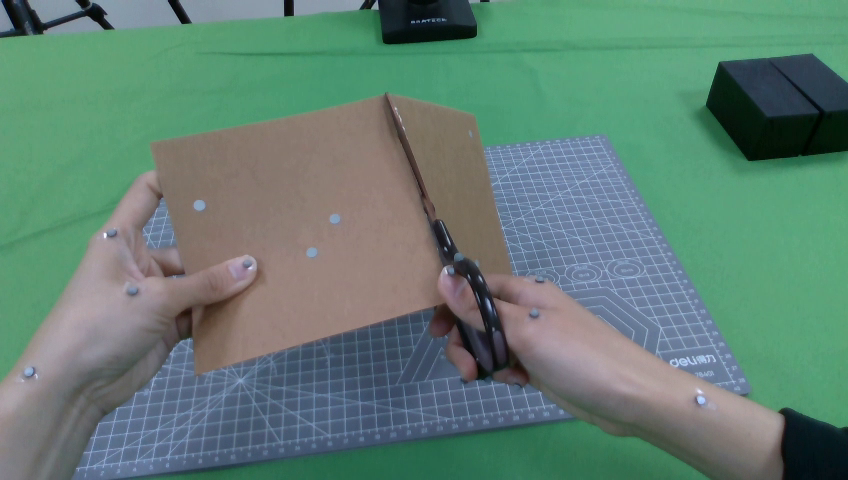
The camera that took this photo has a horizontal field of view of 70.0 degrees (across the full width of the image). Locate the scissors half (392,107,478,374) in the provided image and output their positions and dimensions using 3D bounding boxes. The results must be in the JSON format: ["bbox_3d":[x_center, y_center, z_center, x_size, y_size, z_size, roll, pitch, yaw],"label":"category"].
[{"bbox_3d":[0.001,-0.010,0.335,0.013,0.040,0.173,-18,58,5],"label":"scissors half"}]

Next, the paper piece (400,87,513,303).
[{"bbox_3d":[0.026,-0.028,0.415,0.008,0.136,0.138,-9,1,26],"label":"paper piece"}]

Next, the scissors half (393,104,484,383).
[{"bbox_3d":[0.004,-0.002,0.354,0.013,0.040,0.174,-16,78,0],"label":"scissors half"}]

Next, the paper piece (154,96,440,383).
[{"bbox_3d":[-0.067,-0.007,0.333,0.136,0.004,0.134,-15,77,-11],"label":"paper piece"}]
